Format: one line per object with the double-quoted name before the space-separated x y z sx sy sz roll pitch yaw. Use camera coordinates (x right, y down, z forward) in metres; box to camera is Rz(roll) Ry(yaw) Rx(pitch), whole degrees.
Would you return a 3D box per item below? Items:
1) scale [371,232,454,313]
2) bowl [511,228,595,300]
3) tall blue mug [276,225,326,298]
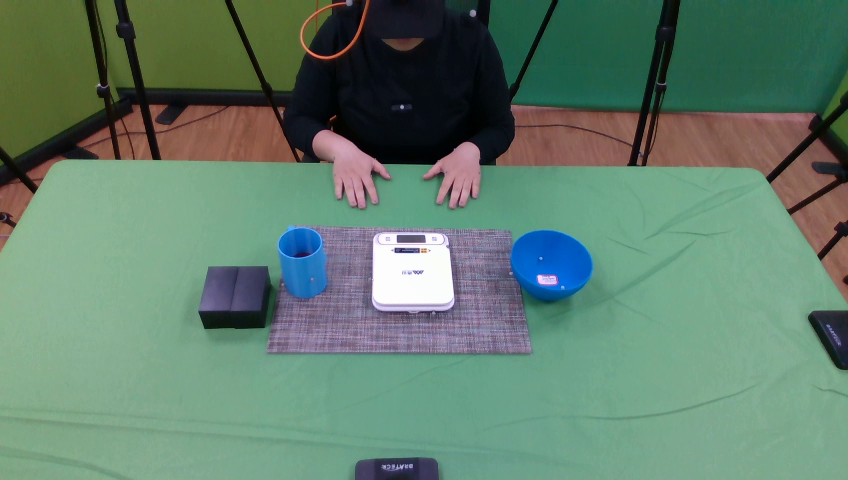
"scale" -0.023 0.051 1.134 0.149 0.032 0.199 1 46 -4
"bowl" 0.230 0.058 1.118 0.151 0.077 0.150 2 46 -2
"tall blue mug" -0.228 0.033 1.083 0.107 0.108 0.077 30 52 23
